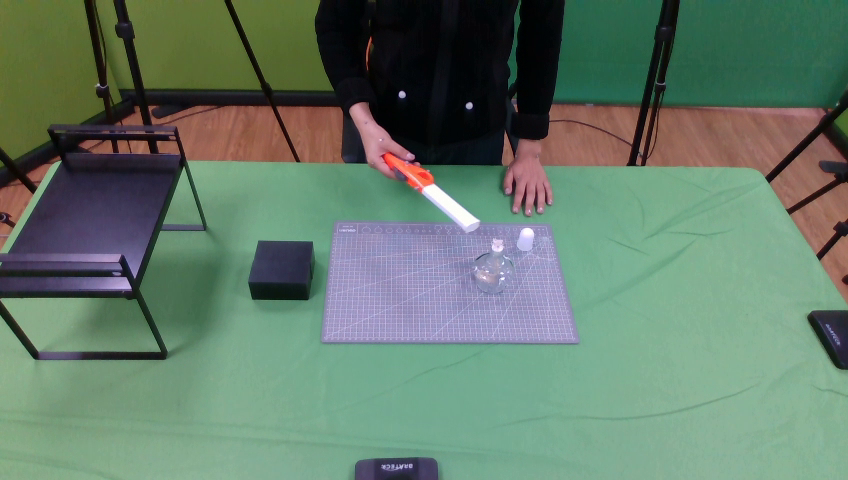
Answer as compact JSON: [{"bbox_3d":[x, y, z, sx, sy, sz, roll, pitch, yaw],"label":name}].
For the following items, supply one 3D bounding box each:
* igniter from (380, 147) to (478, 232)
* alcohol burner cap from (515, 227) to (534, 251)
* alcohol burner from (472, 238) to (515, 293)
[{"bbox_3d":[0.000,-0.100,1.109,0.057,0.025,0.275,-21,47,-32],"label":"igniter"},{"bbox_3d":[0.201,-0.006,1.201,0.034,0.048,0.033,4,46,-3],"label":"alcohol burner cap"},{"bbox_3d":[0.128,0.041,1.102,0.078,0.120,0.077,1,47,-1],"label":"alcohol burner"}]
